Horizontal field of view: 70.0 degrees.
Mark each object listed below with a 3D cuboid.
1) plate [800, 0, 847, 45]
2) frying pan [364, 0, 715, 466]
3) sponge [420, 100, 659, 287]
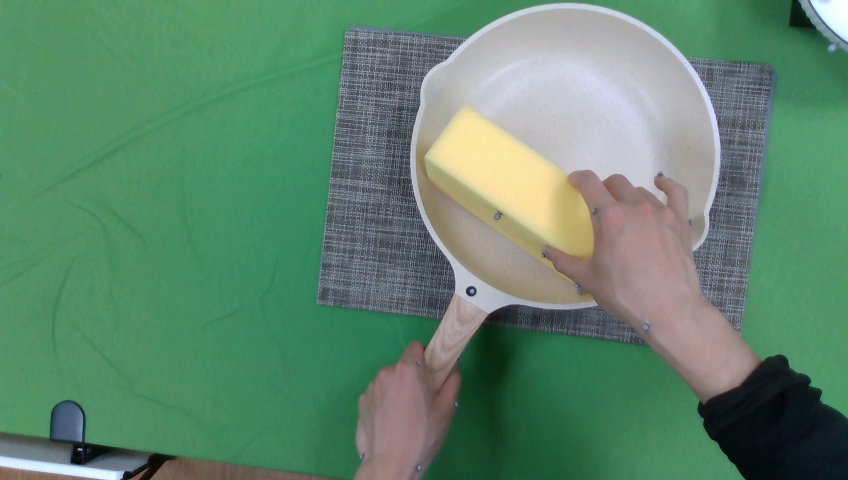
[{"bbox_3d":[0.434,-0.268,0.553,0.207,0.039,0.207,0,91,3],"label":"plate"},{"bbox_3d":[0.075,0.004,0.597,0.306,0.103,0.487,32,85,4],"label":"frying pan"},{"bbox_3d":[0.099,-0.037,0.570,0.206,0.118,0.061,34,88,5],"label":"sponge"}]
